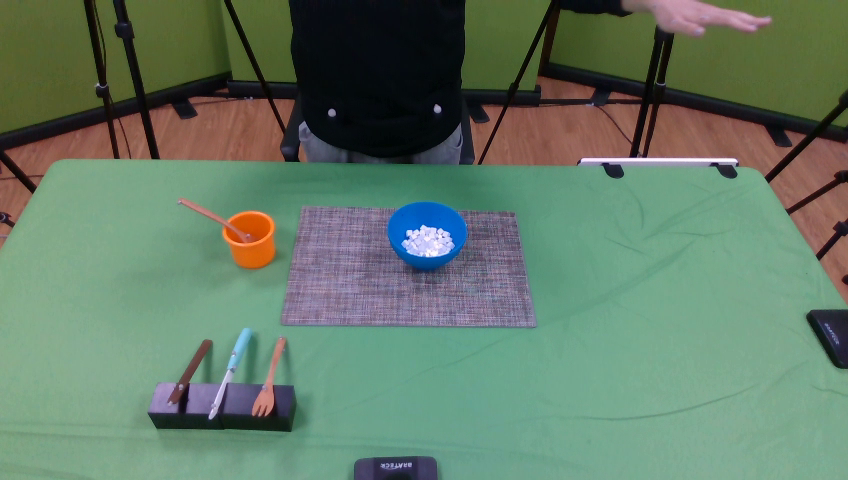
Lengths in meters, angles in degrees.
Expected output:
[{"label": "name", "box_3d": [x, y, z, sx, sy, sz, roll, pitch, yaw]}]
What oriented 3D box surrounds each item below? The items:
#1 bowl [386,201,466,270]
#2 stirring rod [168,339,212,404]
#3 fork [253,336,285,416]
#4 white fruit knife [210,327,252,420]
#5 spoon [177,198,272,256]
[{"label": "bowl", "box_3d": [0.002, 0.004, 1.149, 0.151, 0.077, 0.150, 2, 46, -2]}, {"label": "stirring rod", "box_3d": [-0.360, 0.199, 0.939, 0.014, 0.006, 0.175, 9, 20, -6]}, {"label": "fork", "box_3d": [-0.235, 0.206, 0.938, 0.028, 0.019, 0.206, -3, 26, -3]}, {"label": "white fruit knife", "box_3d": [-0.298, 0.200, 0.937, 0.016, 0.027, 0.206, -1, 30, 0]}, {"label": "spoon", "box_3d": [-0.361, -0.025, 1.107, 0.021, 0.195, 0.041, -32, 37, 28]}]
